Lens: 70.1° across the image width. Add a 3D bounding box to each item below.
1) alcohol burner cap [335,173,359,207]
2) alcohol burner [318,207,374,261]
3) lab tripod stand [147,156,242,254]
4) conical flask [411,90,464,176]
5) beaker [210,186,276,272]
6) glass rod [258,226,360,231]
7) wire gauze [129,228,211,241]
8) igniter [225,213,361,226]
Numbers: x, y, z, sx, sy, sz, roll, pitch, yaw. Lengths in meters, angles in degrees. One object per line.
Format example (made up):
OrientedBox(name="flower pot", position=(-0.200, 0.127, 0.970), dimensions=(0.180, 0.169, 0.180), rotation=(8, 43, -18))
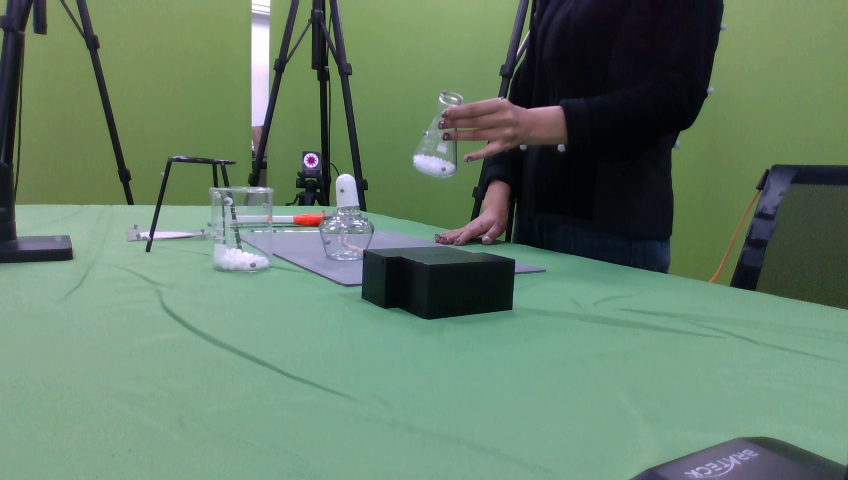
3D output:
OrientedBox(name="alcohol burner cap", position=(-0.108, -0.068, 0.829), dimensions=(0.034, 0.048, 0.034), rotation=(-7, 4, 1))
OrientedBox(name="alcohol burner", position=(-0.107, -0.032, 0.833), dimensions=(0.078, 0.119, 0.078), rotation=(1, 6, 0))
OrientedBox(name="lab tripod stand", position=(-0.310, -0.050, 0.858), dimensions=(0.148, 0.131, 0.148), rotation=(4, 6, 0))
OrientedBox(name="conical flask", position=(0.028, -0.165, 0.924), dimensions=(0.075, 0.122, 0.075), rotation=(13, 28, -7))
OrientedBox(name="beaker", position=(-0.224, -0.014, 0.738), dimensions=(0.084, 0.100, 0.074), rotation=(4, 7, 16))
OrientedBox(name="glass rod", position=(-0.215, -0.022, 1.151), dimensions=(0.201, 0.008, 0.008), rotation=(-2, 8, -27))
OrientedBox(name="wire gauze", position=(-0.419, -0.010, 0.999), dimensions=(0.122, 0.011, 0.124), rotation=(0, 6, -25))
OrientedBox(name="igniter", position=(-0.257, -0.042, 1.221), dimensions=(0.278, 0.025, 0.057), rotation=(-2, -2, -32))
